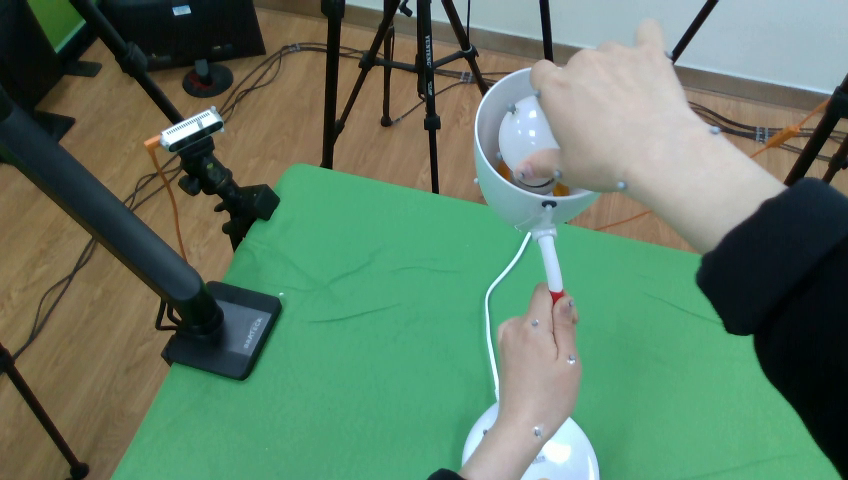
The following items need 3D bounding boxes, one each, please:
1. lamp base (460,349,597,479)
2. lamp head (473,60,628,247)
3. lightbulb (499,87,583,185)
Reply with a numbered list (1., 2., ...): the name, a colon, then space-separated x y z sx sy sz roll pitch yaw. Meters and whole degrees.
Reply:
1. lamp base: 0.117 0.205 0.653 0.161 0.182 0.177 -22 57 -14
2. lamp head: 0.091 -0.058 0.480 0.112 0.124 0.111 0 63 0
3. lightbulb: 0.086 -0.071 0.459 0.059 0.108 0.059 -1 71 5
